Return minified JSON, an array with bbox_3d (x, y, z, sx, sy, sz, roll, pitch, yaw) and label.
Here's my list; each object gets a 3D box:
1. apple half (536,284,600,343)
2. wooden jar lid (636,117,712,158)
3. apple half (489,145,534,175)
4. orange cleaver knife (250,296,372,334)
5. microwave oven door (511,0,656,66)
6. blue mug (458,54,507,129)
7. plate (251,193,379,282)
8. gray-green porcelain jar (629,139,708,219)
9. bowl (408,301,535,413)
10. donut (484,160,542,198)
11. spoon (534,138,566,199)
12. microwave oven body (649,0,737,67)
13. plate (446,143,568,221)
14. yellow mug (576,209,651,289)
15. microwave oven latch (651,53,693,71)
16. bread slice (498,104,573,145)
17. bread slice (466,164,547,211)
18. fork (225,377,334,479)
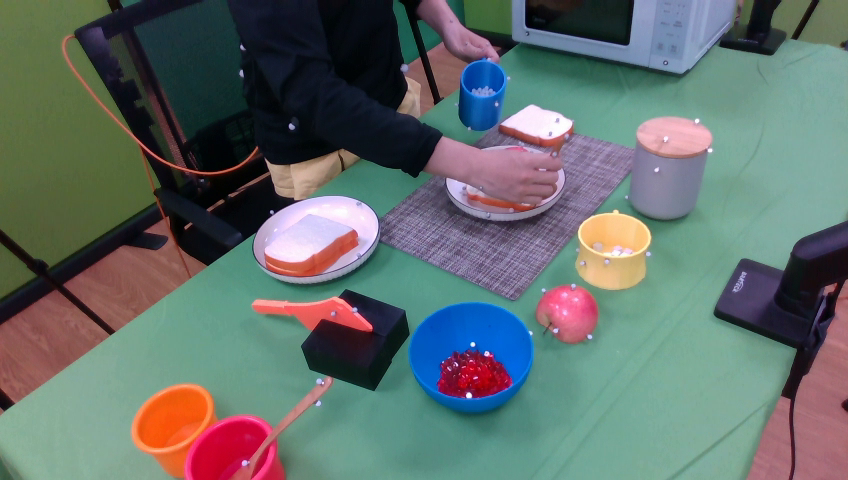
[{"bbox_3d":[0.196,0.091,0.815,0.075,0.053,0.080,-22,42,-20],"label":"apple half"},{"bbox_3d":[0.377,-0.151,0.917,0.108,0.021,0.108,-2,41,2],"label":"wooden jar lid"},{"bbox_3d":[0.144,-0.138,0.995,0.081,0.033,0.081,-1,35,1],"label":"apple half"},{"bbox_3d":[-0.158,0.103,0.828,0.210,0.078,0.012,-4,43,39],"label":"orange cleaver knife"},{"bbox_3d":[0.351,-0.540,1.349,0.353,0.245,0.039,24,50,31],"label":"microwave oven door"},{"bbox_3d":[0.106,-0.281,1.114,0.082,0.106,0.116,2,68,1],"label":"blue mug"},{"bbox_3d":[-0.174,-0.001,0.984,0.209,0.038,0.208,-4,41,4],"label":"plate"},{"bbox_3d":[0.383,-0.105,0.958,0.106,0.127,0.105,-4,41,4],"label":"gray-green porcelain jar"},{"bbox_3d":[0.059,0.156,0.739,0.151,0.077,0.150,-4,40,4],"label":"bowl"},{"bbox_3d":[0.149,-0.109,1.016,0.099,0.048,0.098,-4,41,4],"label":"donut"},{"bbox_3d":[0.191,-0.105,0.909,0.042,0.194,0.021,-22,67,-4],"label":"spoon"},{"bbox_3d":[0.475,-0.602,1.411,0.438,0.261,0.327,23,50,32],"label":"microwave oven body"},{"bbox_3d":[0.142,-0.097,1.045,0.207,0.039,0.206,-4,41,4],"label":"plate"},{"bbox_3d":[0.279,0.004,0.893,0.099,0.064,0.130,5,41,14],"label":"yellow mug"},{"bbox_3d":[0.532,-0.386,1.301,0.078,0.029,0.030,27,52,34],"label":"microwave oven latch"},{"bbox_3d":[0.231,-0.232,1.205,0.105,0.019,0.130,-36,47,-29],"label":"bread slice"},{"bbox_3d":[0.141,-0.092,1.043,0.133,0.018,0.107,12,44,18],"label":"bread slice"},{"bbox_3d":[-0.163,0.216,0.647,0.207,0.019,0.028,-49,42,16],"label":"fork"}]
